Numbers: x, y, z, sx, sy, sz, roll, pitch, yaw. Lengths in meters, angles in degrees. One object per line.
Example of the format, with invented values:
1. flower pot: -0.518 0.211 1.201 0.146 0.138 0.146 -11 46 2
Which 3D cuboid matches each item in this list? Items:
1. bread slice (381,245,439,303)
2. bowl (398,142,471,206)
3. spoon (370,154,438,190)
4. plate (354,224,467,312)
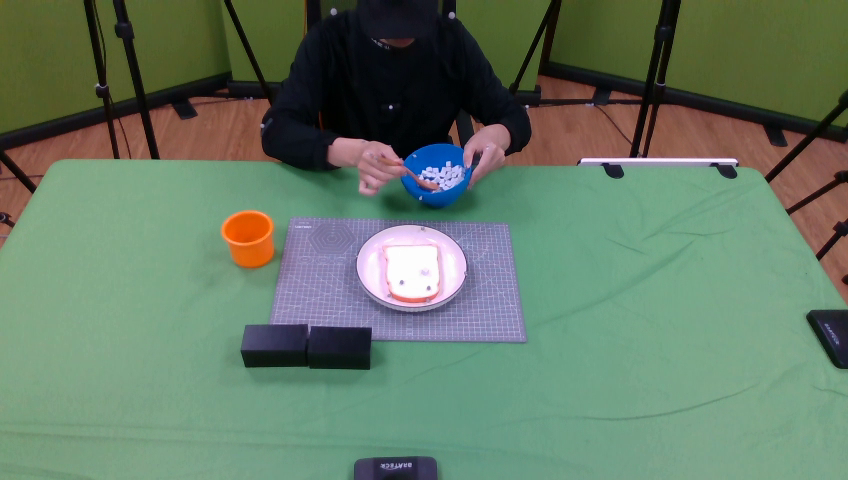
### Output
1. bread slice: -0.022 0.061 1.126 0.107 0.018 0.133 -3 45 -8
2. bowl: 0.028 -0.123 1.256 0.151 0.077 0.150 -7 49 8
3. spoon: -0.037 -0.133 1.171 0.021 0.195 0.041 -53 50 9
4. plate: -0.025 0.055 1.128 0.209 0.038 0.208 3 46 -2
